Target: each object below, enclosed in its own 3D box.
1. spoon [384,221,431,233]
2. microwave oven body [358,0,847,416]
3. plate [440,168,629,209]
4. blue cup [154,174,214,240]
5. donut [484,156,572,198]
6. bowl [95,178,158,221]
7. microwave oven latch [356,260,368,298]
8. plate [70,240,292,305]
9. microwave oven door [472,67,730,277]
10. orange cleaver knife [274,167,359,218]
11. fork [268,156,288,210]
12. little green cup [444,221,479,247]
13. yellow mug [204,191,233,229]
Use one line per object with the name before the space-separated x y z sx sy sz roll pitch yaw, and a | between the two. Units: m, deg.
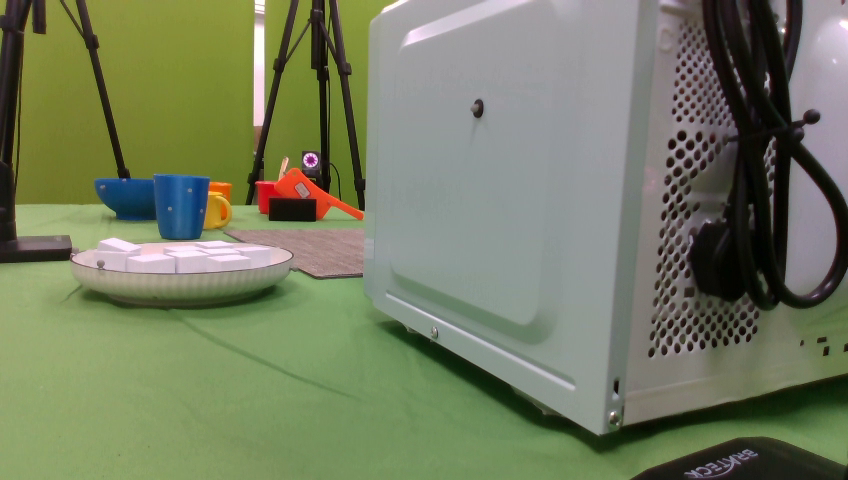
spoon | -0.024 -0.029 1.188 0.041 0.021 0.194 -13 0 23
microwave oven body | 0.211 -0.047 0.474 0.444 0.260 0.324 -1 7 -28
plate | 0.121 -0.058 0.682 0.209 0.038 0.209 2 6 0
blue cup | -0.391 -0.053 0.978 0.093 0.100 0.092 3 6 0
donut | 0.117 -0.071 0.681 0.099 0.048 0.099 2 5 0
bowl | -0.576 -0.081 1.217 0.151 0.077 0.151 3 8 0
microwave oven latch | -0.019 0.033 0.529 0.079 0.029 0.030 0 7 -25
plate | -0.242 0.031 0.618 0.208 0.039 0.207 2 8 0
microwave oven door | 0.213 -0.097 0.820 0.039 0.243 0.354 -6 11 -45
orange cleaver knife | -0.238 -0.091 1.381 0.212 0.077 0.012 31 0 -19
fork | -0.360 -0.144 1.508 0.028 0.018 0.207 1 49 0
little green cup | 0.064 -0.010 1.035 0.061 0.038 0.061 1 9 0
yellow mug | -0.415 -0.057 1.132 0.130 0.064 0.100 6 8 16
